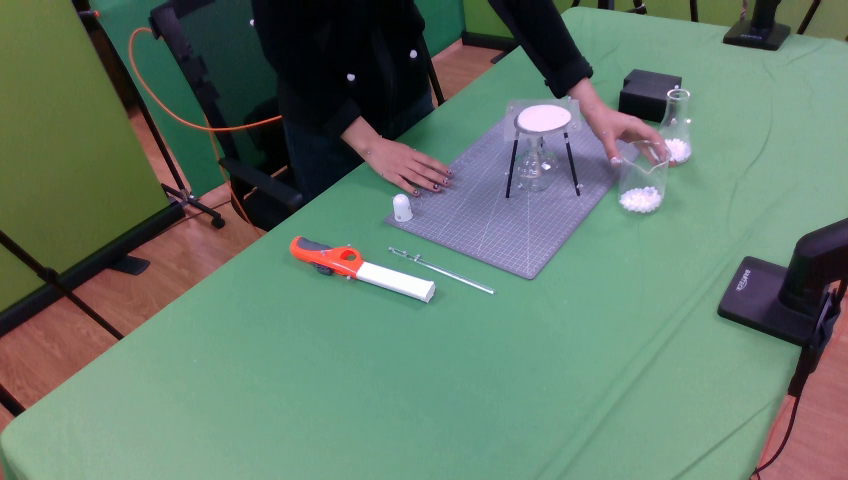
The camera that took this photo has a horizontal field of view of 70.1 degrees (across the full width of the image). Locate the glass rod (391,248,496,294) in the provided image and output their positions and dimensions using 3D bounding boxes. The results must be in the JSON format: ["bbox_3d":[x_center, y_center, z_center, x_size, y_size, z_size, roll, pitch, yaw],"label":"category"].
[{"bbox_3d":[0.026,0.046,0.936,0.198,0.008,0.008,22,50,31],"label":"glass rod"}]

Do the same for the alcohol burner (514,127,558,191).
[{"bbox_3d":[0.192,-0.145,1.043,0.078,0.119,0.077,-5,42,5],"label":"alcohol burner"}]

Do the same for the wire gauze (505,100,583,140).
[{"bbox_3d":[0.194,-0.200,0.987,0.121,0.011,0.124,-1,39,11],"label":"wire gauze"}]

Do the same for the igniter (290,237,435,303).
[{"bbox_3d":[-0.106,0.044,0.949,0.274,0.025,0.057,16,57,28],"label":"igniter"}]

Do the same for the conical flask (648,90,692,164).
[{"bbox_3d":[0.437,-0.199,1.057,0.075,0.122,0.075,-5,40,5],"label":"conical flask"}]

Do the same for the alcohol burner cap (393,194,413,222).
[{"bbox_3d":[-0.038,-0.057,1.038,0.034,0.048,0.033,-6,40,5],"label":"alcohol burner cap"}]

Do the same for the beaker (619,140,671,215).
[{"bbox_3d":[0.352,-0.096,0.971,0.074,0.101,0.084,1,42,13],"label":"beaker"}]

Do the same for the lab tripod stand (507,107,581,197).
[{"bbox_3d":[0.201,-0.151,1.033,0.148,0.132,0.147,-7,38,6],"label":"lab tripod stand"}]
